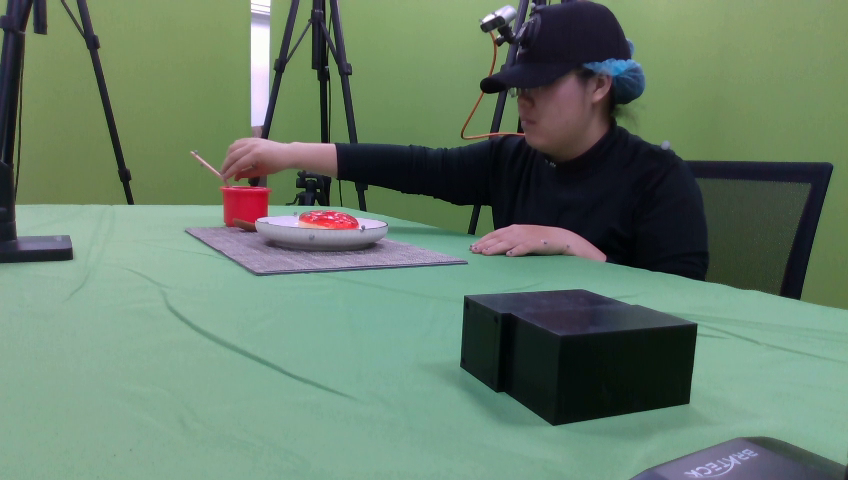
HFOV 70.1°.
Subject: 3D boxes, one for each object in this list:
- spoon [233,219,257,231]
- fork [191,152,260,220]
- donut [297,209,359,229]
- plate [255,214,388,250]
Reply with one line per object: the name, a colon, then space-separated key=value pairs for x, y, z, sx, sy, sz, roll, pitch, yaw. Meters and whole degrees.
spoon: x=-0.250 y=-0.028 z=1.108 sx=0.195 sy=0.021 sz=0.041 roll=-2 pitch=-10 yaw=-29
fork: x=-0.386 y=-0.103 z=1.191 sx=0.207 sy=0.018 sz=0.028 roll=46 pitch=16 yaw=5
donut: x=-0.151 y=-0.023 z=0.955 sx=0.099 sy=0.048 sz=0.099 roll=6 pitch=7 yaw=0
plate: x=-0.161 y=-0.013 z=0.961 sx=0.209 sy=0.038 sz=0.209 roll=2 pitch=7 yaw=0
